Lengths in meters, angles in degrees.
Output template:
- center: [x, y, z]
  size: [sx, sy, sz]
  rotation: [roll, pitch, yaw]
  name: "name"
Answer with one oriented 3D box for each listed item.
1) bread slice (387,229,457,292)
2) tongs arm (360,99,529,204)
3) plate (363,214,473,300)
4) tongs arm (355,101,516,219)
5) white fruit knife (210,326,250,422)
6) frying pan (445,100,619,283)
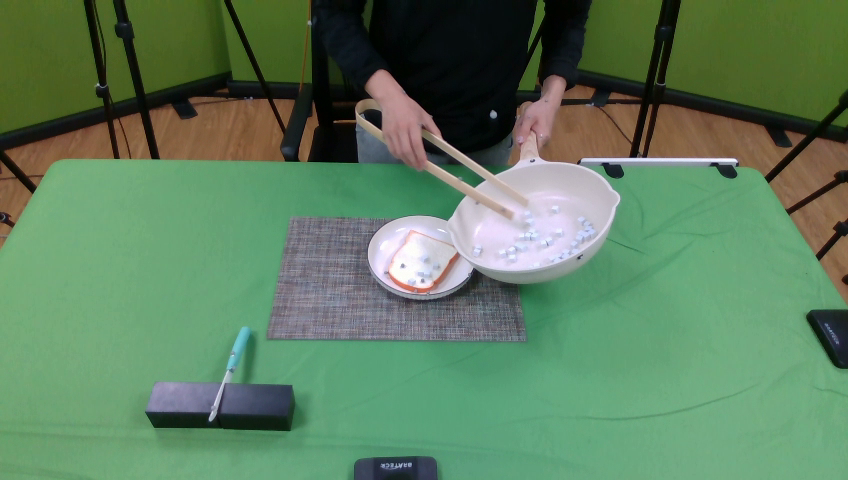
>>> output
- center: [-0.007, 0.041, 1.141]
  size: [0.107, 0.018, 0.134]
  rotation: [18, 49, 13]
  name: "bread slice"
- center: [0.033, -0.171, 1.138]
  size: [0.386, 0.028, 0.028]
  rotation: [34, 67, 18]
  name: "tongs arm"
- center: [-0.010, 0.036, 1.146]
  size: [0.208, 0.039, 0.206]
  rotation: [3, 46, -2]
  name: "plate"
- center: [0.015, -0.153, 1.126]
  size: [0.383, 0.026, 0.050]
  rotation: [31, 63, 17]
  name: "tongs arm"
- center: [-0.300, 0.201, 0.942]
  size: [0.016, 0.027, 0.206]
  rotation: [1, 32, -1]
  name: "white fruit knife"
- center: [0.201, -0.110, 1.146]
  size: [0.306, 0.103, 0.485]
  rotation: [-7, 49, 17]
  name: "frying pan"
